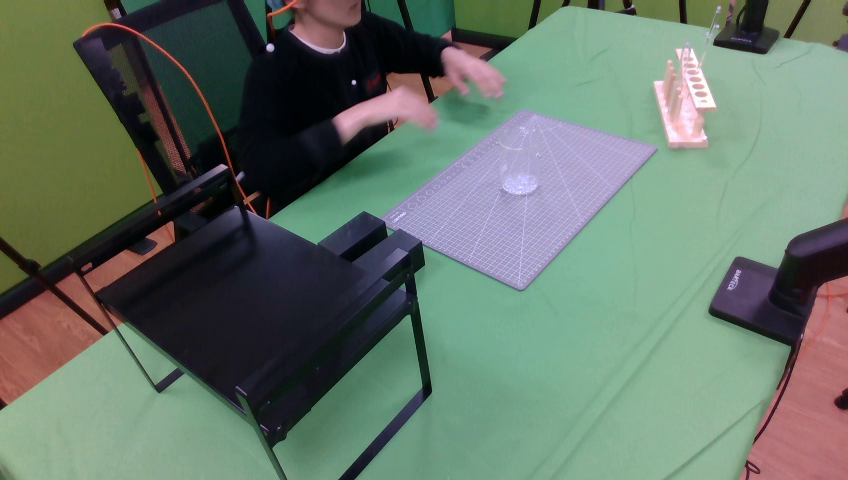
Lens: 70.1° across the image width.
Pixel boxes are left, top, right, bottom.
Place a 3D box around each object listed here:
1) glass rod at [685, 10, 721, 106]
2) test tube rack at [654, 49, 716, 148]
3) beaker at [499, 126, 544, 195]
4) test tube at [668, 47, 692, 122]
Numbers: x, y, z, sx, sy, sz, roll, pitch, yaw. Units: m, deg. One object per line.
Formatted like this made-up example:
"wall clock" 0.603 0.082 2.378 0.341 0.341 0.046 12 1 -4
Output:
"glass rod" 0.523 -0.336 1.136 0.008 0.200 0.008 -1 47 1
"test tube rack" 0.502 -0.281 1.176 0.066 0.085 0.241 2 41 11
"beaker" 0.170 -0.136 1.045 0.073 0.101 0.084 12 44 21
"test tube" 0.472 -0.285 1.117 0.017 0.151 0.017 -3 44 4
